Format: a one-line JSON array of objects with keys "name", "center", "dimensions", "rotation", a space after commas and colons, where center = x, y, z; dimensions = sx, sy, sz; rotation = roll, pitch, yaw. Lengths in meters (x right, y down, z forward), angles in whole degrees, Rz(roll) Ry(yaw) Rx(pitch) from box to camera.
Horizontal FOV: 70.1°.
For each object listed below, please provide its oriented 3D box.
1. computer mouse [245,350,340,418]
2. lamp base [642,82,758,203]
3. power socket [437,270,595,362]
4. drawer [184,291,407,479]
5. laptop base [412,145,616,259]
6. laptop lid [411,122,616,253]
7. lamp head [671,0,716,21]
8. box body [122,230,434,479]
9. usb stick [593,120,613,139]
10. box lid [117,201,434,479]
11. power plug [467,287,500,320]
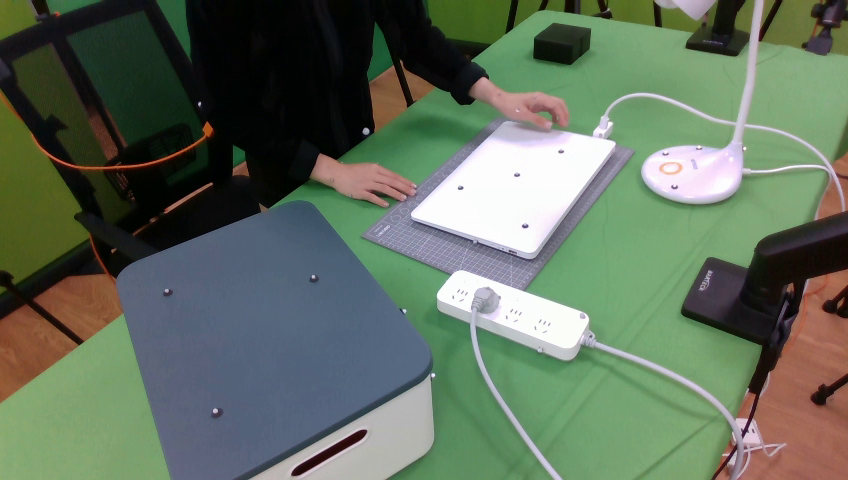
[{"name": "computer mouse", "center": [-0.165, 0.173, 0.754], "dimensions": [0.118, 0.041, 0.062], "rotation": [-18, 34, -18]}, {"name": "lamp base", "center": [0.464, -0.174, 0.992], "dimensions": [0.179, 0.181, 0.159], "rotation": [-5, 41, -1]}, {"name": "power socket", "center": [0.119, 0.101, 0.832], "dimensions": [0.225, 0.033, 0.072], "rotation": [19, 48, 27]}, {"name": "drawer", "center": [-0.155, 0.179, 0.719], "dimensions": [0.195, 0.073, 0.210], "rotation": [-27, 40, -21]}, {"name": "laptop base", "center": [0.168, -0.101, 1.074], "dimensions": [0.234, 0.023, 0.355], "rotation": [17, 45, 30]}, {"name": "laptop lid", "center": [0.165, -0.111, 1.067], "dimensions": [0.240, 0.013, 0.357], "rotation": [19, 46, 31]}, {"name": "lamp head", "center": [0.375, -0.373, 0.807], "dimensions": [0.122, 0.113, 0.112], "rotation": [-40, 27, 32]}, {"name": "box body", "center": [-0.175, 0.142, 0.725], "dimensions": [0.255, 0.161, 0.360], "rotation": [-25, 43, -20]}, {"name": "usb stick", "center": [0.336, -0.201, 1.147], "dimensions": [0.021, 0.027, 0.059], "rotation": [26, 53, 26]}, {"name": "box lid", "center": [-0.182, 0.087, 0.675], "dimensions": [0.264, 0.015, 0.368], "rotation": [-25, 42, -20]}, {"name": "power plug", "center": [0.073, 0.092, 0.814], "dimensions": [0.035, 0.053, 0.073], "rotation": [29, 53, 35]}]
